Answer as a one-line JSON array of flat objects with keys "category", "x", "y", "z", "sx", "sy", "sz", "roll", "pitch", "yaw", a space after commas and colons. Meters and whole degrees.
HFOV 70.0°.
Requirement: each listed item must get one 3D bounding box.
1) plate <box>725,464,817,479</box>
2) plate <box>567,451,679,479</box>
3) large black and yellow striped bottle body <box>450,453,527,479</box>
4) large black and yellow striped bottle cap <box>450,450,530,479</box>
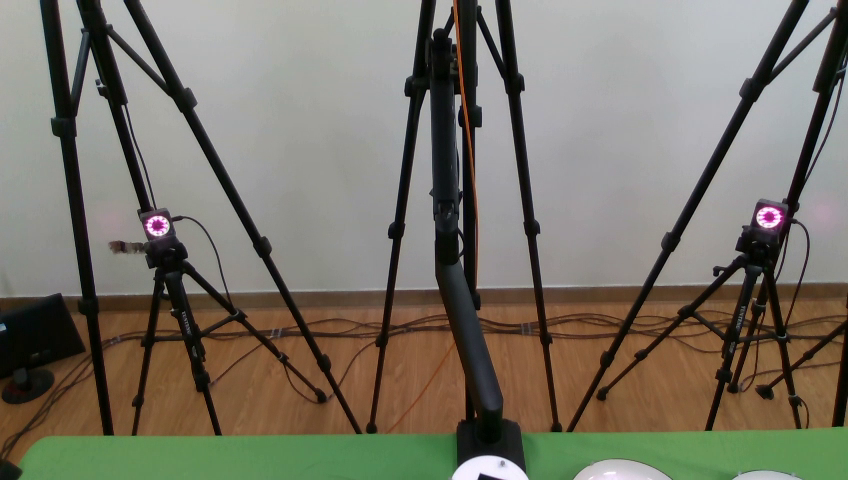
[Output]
[{"category": "plate", "x": 0.568, "y": 0.447, "z": 0.943, "sx": 0.207, "sy": 0.039, "sz": 0.205, "roll": -2, "pitch": 33, "yaw": 2}, {"category": "plate", "x": 0.329, "y": 0.437, "z": 0.973, "sx": 0.209, "sy": 0.038, "sz": 0.207, "roll": -2, "pitch": 33, "yaw": 2}, {"category": "large black and yellow striped bottle body", "x": 0.094, "y": 0.415, "z": 0.887, "sx": 0.131, "sy": 0.185, "sz": 0.129, "roll": -2, "pitch": 33, "yaw": 1}, {"category": "large black and yellow striped bottle cap", "x": 0.092, "y": 0.343, "z": 0.841, "sx": 0.115, "sy": 0.019, "sz": 0.114, "roll": -1, "pitch": 34, "yaw": 1}]
